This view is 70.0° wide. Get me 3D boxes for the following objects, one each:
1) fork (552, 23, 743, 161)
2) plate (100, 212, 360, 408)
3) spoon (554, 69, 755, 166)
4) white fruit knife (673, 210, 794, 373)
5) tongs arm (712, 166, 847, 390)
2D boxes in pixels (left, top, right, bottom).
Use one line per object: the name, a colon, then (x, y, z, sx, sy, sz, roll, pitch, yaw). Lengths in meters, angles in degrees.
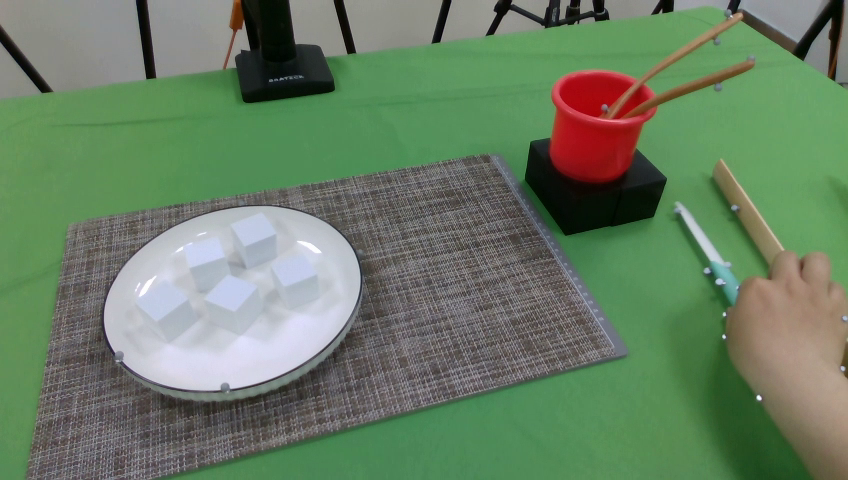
fork: (0.212, -0.140, 0.584, 0.207, 0.019, 0.028, -39, 21, 15)
plate: (-0.158, 0.056, 0.516, 0.208, 0.039, 0.205, 1, 43, -1)
spoon: (0.198, -0.107, 0.548, 0.022, 0.193, 0.041, 54, 48, -8)
white fruit knife: (0.281, 0.037, 0.571, 0.027, 0.016, 0.205, 18, 36, -24)
tongs arm: (0.347, 0.057, 0.541, 0.028, 0.028, 0.383, -1, 43, -6)
